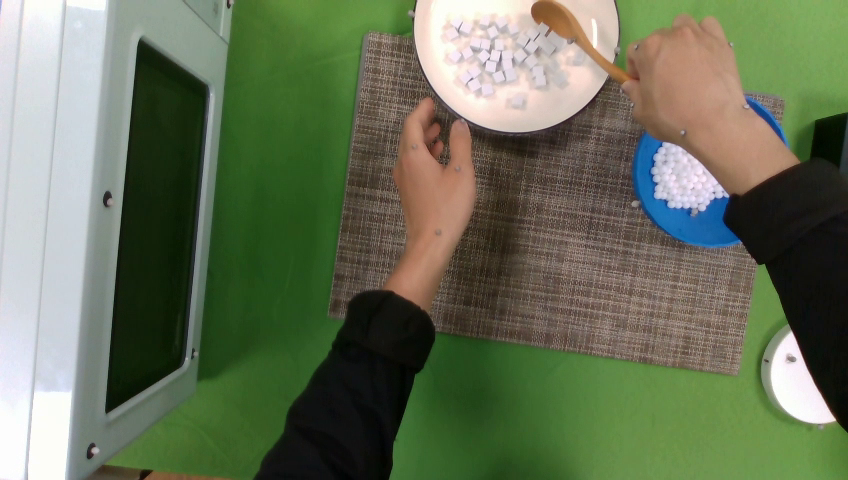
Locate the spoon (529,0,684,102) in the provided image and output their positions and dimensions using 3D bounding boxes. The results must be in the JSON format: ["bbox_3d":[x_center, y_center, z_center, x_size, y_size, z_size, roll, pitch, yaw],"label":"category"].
[{"bbox_3d":[0.168,-0.186,0.573,0.021,0.042,0.192,-36,65,-7],"label":"spoon"}]

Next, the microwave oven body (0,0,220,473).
[{"bbox_3d":[-0.369,-0.083,0.497,0.326,0.259,0.442,6,94,-3],"label":"microwave oven body"}]

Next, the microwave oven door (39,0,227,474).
[{"bbox_3d":[-0.228,-0.026,0.500,0.039,0.243,0.356,5,93,-1],"label":"microwave oven door"}]

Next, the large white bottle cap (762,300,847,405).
[{"bbox_3d":[0.429,0.123,0.661,0.115,0.018,0.115,0,95,-3],"label":"large white bottle cap"}]

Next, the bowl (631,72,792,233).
[{"bbox_3d":[0.272,-0.084,0.608,0.151,0.076,0.151,0,94,-1],"label":"bowl"}]

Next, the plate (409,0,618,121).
[{"bbox_3d":[0.089,-0.221,0.614,0.209,0.038,0.209,0,91,-3],"label":"plate"}]

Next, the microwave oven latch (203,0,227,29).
[{"bbox_3d":[-0.206,-0.249,0.587,0.030,0.029,0.079,6,94,-3],"label":"microwave oven latch"}]
